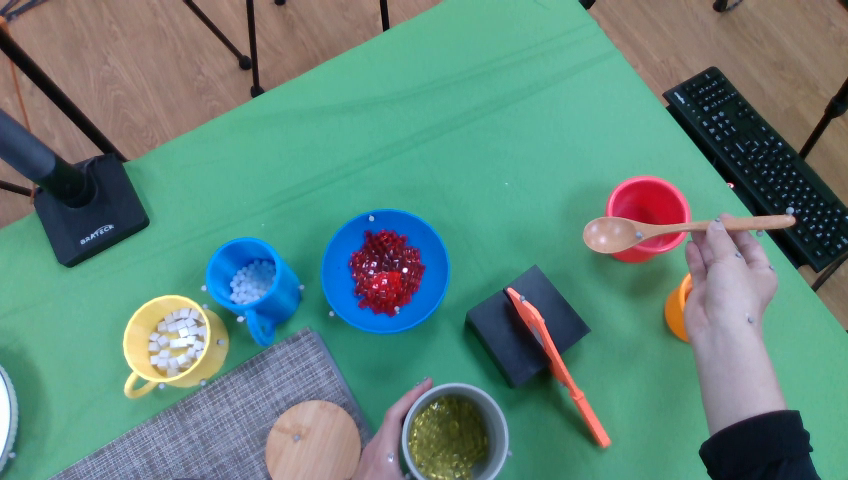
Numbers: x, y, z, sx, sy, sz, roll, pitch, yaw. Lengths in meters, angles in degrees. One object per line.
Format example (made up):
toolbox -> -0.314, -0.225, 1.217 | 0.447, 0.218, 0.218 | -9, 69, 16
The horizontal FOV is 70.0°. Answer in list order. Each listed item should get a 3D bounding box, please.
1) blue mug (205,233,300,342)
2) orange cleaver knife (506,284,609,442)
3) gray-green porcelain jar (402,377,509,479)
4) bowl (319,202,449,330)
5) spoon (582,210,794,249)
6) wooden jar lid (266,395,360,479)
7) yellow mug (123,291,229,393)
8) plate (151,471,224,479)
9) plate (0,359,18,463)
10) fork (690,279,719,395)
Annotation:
blue mug -> -0.196, 0.062, 0.711 | 0.082, 0.106, 0.116 | -11, 73, -2
orange cleaver knife -> 0.151, 0.141, 0.694 | 0.012, 0.077, 0.212 | -33, 105, -11
gray-green porcelain jar -> 0.029, 0.208, 0.650 | 0.106, 0.127, 0.105 | 1, 70, -3
bowl -> -0.045, 0.040, 0.730 | 0.151, 0.077, 0.150 | 0, 73, 1
spoon -> 0.254, -0.015, 0.600 | 0.193, 0.022, 0.041 | -4, 71, 33
wooden jar lid -> -0.126, 0.234, 0.697 | 0.108, 0.021, 0.108 | 0, 74, 1
yellow mug -> -0.300, 0.127, 0.713 | 0.099, 0.064, 0.130 | 36, 78, 12
plate -> -0.260, 0.358, 0.651 | 0.209, 0.038, 0.208 | 0, 73, 1
plate -> -0.573, 0.215, 0.704 | 0.208, 0.039, 0.206 | 0, 73, 1
fork -> 0.312, 0.100, 0.669 | 0.028, 0.019, 0.206 | 28, 31, 6
